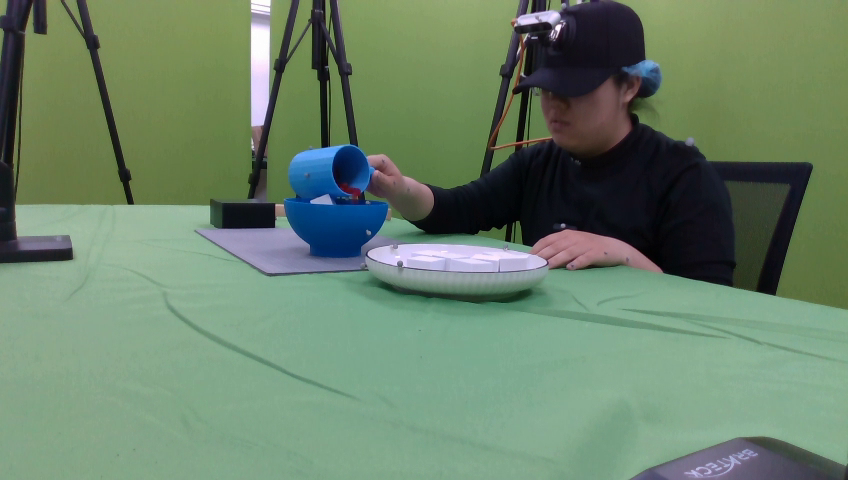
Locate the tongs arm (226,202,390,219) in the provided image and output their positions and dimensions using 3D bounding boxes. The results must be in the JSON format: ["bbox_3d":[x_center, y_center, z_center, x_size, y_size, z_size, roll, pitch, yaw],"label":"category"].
[{"bbox_3d":[-0.275,-0.071,1.446,0.388,0.027,0.028,2,-1,-4],"label":"tongs arm"}]

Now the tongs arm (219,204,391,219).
[{"bbox_3d":[-0.258,-0.064,1.367,0.386,0.026,0.050,1,3,-17],"label":"tongs arm"}]

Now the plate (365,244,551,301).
[{"bbox_3d":[0.038,0.036,0.685,0.209,0.038,0.209,2,7,0],"label":"plate"}]

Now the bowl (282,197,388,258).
[{"bbox_3d":[-0.127,-0.018,0.868,0.151,0.077,0.151,3,7,0],"label":"bowl"}]

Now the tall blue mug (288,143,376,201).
[{"bbox_3d":[-0.136,-0.110,0.931,0.107,0.078,0.107,-1,31,44],"label":"tall blue mug"}]
